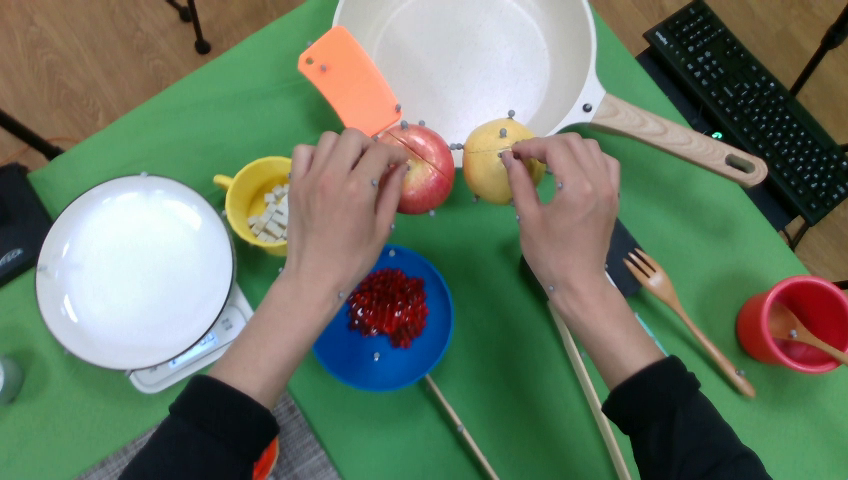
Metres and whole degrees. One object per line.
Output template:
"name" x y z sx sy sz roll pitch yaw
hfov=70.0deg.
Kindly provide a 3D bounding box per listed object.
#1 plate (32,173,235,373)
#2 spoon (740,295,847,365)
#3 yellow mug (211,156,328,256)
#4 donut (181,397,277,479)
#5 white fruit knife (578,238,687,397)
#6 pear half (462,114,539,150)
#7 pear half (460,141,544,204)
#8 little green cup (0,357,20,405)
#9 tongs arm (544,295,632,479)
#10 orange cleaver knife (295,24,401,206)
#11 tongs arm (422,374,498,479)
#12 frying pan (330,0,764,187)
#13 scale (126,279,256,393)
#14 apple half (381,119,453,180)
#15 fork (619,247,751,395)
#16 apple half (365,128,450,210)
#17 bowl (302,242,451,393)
"plate" -0.301 0.034 0.643 0.209 0.038 0.208 0 79 0
"spoon" 0.401 0.111 0.597 0.041 0.022 0.191 -39 37 -7
"yellow mug" -0.176 -0.042 0.671 0.130 0.064 0.099 23 81 6
"donut" -0.203 0.214 0.632 0.099 0.048 0.098 0 81 2
"white fruit knife" 0.218 0.083 0.637 0.016 0.027 0.208 -36 96 -5
"pear half" 0.067 -0.098 0.550 0.070 0.088 0.031 -14 93 2
"pear half" 0.072 -0.062 0.542 0.076 0.110 0.056 -11 89 2
"little green cup" -0.473 0.154 0.653 0.061 0.039 0.061 0 79 1
"tongs arm" 0.197 0.241 0.635 0.028 0.028 0.386 -18 81 -10
"orange cleaver knife" -0.066 -0.137 0.649 0.077 0.012 0.210 -29 81 -2
"tongs arm" 0.121 0.282 0.625 0.051 0.026 0.383 -33 82 -9
"frying pan" 0.130 -0.169 0.671 0.485 0.103 0.306 28 82 14
"scale" -0.292 0.053 0.673 0.149 0.031 0.200 -29 81 -4
"apple half" 0.001 -0.088 0.558 0.081 0.081 0.033 36 89 7
"fork" 0.280 0.089 0.643 0.028 0.018 0.208 -43 98 -8
"apple half" -0.022 -0.057 0.556 0.081 0.074 0.053 36 89 -1
"bowl" -0.046 0.083 0.641 0.151 0.077 0.151 0 80 0
